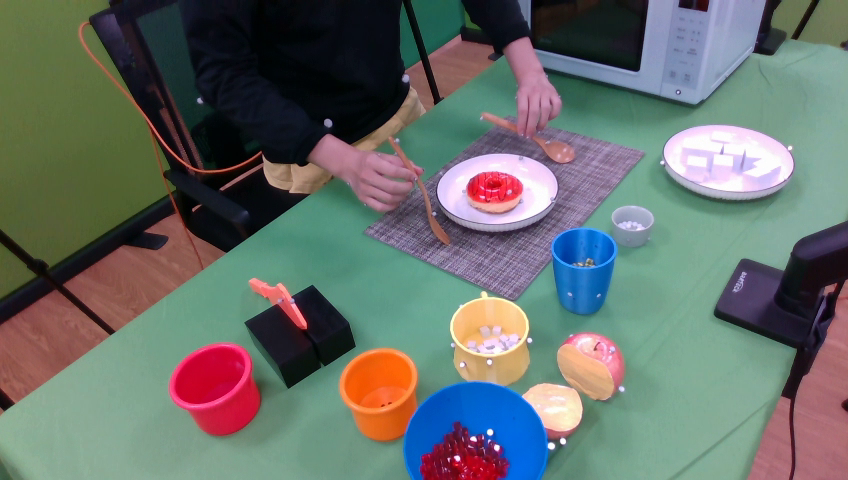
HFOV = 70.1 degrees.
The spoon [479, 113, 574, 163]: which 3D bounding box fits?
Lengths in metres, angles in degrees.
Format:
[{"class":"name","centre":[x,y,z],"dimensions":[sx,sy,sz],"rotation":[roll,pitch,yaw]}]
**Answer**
[{"class":"spoon","centre":[0.187,-0.190,1.096],"dimensions":[0.195,0.021,0.041],"rotation":[23,78,-17]}]

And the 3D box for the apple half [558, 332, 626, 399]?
[{"class":"apple half","centre":[0.209,0.147,0.731],"dimensions":[0.080,0.075,0.053],"rotation":[25,46,38]}]

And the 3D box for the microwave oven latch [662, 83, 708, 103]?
[{"class":"microwave oven latch","centre":[0.518,-0.296,1.204],"dimensions":[0.078,0.029,0.030],"rotation":[28,52,35]}]

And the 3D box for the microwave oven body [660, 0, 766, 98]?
[{"class":"microwave oven body","centre":[0.472,-0.513,1.317],"dimensions":[0.438,0.261,0.327],"rotation":[26,51,34]}]

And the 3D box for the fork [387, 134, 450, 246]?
[{"class":"fork","centre":[-0.006,-0.073,0.923],"dimensions":[0.018,0.208,0.028],"rotation":[-14,33,21]}]

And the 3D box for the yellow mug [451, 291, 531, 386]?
[{"class":"yellow mug","centre":[0.086,0.120,0.786],"dimensions":[0.100,0.064,0.130],"rotation":[-7,39,1]}]

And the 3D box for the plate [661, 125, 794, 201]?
[{"class":"plate","centre":[0.513,-0.128,1.035],"dimensions":[0.207,0.039,0.206],"rotation":[-4,40,4]}]

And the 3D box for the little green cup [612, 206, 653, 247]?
[{"class":"little green cup","centre":[0.321,-0.019,0.936],"dimensions":[0.061,0.039,0.061],"rotation":[-4,40,4]}]

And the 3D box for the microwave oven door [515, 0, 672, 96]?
[{"class":"microwave oven door","centre":[0.344,-0.455,1.260],"dimensions":[0.353,0.245,0.039],"rotation":[26,51,33]}]

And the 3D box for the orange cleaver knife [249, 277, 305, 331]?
[{"class":"orange cleaver knife","centre":[-0.210,0.088,0.856],"dimensions":[0.012,0.077,0.210],"rotation":[-28,15,-25]}]

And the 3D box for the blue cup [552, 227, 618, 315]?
[{"class":"blue cup","centre":[0.218,0.047,0.825],"dimensions":[0.092,0.100,0.092],"rotation":[-6,39,5]}]

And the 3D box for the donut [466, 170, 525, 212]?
[{"class":"donut","centre":[0.121,-0.083,1.019],"dimensions":[0.099,0.048,0.098],"rotation":[-4,38,3]}]

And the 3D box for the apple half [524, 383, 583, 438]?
[{"class":"apple half","centre":[0.149,0.204,0.704],"dimensions":[0.081,0.033,0.081],"rotation":[-10,25,5]}]

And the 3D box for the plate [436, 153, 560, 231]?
[{"class":"plate","centre":[0.125,-0.078,1.029],"dimensions":[0.209,0.038,0.208],"rotation":[-4,40,4]}]

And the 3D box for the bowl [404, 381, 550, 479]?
[{"class":"bowl","centre":[0.058,0.235,0.645],"dimensions":[0.151,0.077,0.150],"rotation":[-4,39,4]}]
